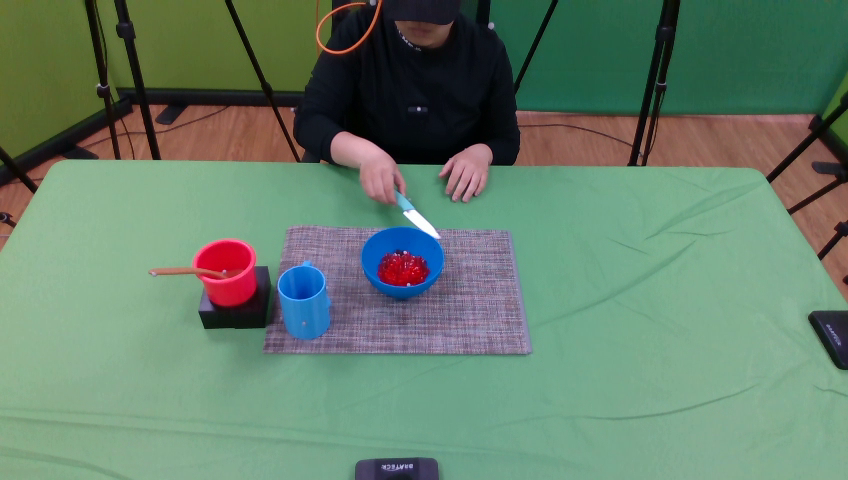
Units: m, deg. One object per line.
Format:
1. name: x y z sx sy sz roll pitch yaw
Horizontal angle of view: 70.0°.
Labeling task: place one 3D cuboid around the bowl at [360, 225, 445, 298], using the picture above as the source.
1. bowl: -0.040 0.053 1.099 0.151 0.077 0.150 2 46 -2

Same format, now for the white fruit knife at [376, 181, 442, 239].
1. white fruit knife: -0.029 -0.062 1.205 0.027 0.016 0.206 -38 55 -11

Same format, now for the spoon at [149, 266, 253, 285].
1. spoon: -0.351 0.052 0.968 0.041 0.021 0.194 41 12 28

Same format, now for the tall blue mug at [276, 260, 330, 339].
1. tall blue mug: -0.208 0.094 1.025 0.078 0.108 0.106 -21 51 -21
